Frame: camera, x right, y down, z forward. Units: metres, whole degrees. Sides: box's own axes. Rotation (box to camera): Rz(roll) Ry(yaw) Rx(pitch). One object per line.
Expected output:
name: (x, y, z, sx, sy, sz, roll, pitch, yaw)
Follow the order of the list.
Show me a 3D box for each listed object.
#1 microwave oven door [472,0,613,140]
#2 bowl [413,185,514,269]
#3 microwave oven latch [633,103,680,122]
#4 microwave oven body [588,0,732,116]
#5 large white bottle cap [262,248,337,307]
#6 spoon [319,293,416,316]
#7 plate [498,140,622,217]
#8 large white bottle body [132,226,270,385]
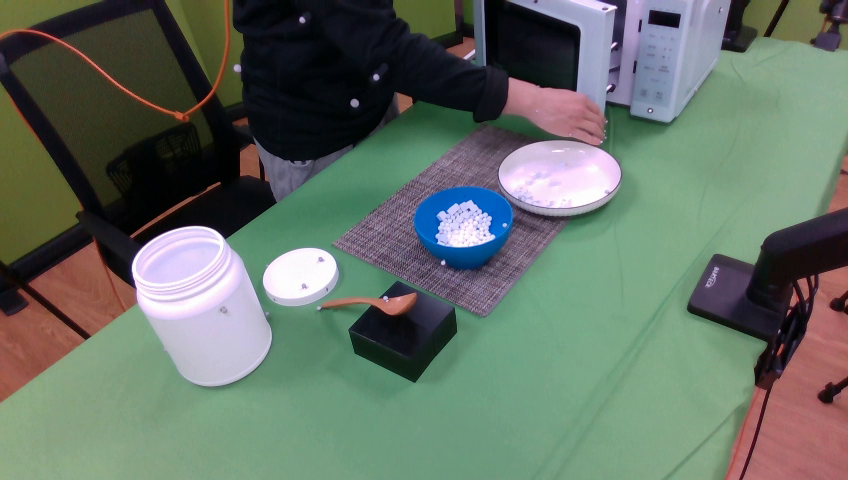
microwave oven door: (0.216, -0.367, 1.171, 0.039, 0.245, 0.352, -28, 45, -23)
bowl: (0.062, -0.009, 0.920, 0.151, 0.077, 0.150, -4, 40, 4)
microwave oven latch: (0.443, -0.249, 1.157, 0.078, 0.029, 0.030, 21, 49, 30)
microwave oven body: (0.377, -0.463, 1.267, 0.438, 0.261, 0.327, 21, 49, 30)
large white bottle cap: (-0.193, 0.056, 0.934, 0.115, 0.018, 0.114, -4, 41, 4)
spoon: (-0.082, 0.086, 0.826, 0.192, 0.022, 0.041, -3, 36, 41)
plate: (0.231, -0.103, 1.038, 0.209, 0.038, 0.208, -4, 40, 4)
large white bottle body: (-0.286, 0.085, 0.784, 0.130, 0.185, 0.130, -4, 41, 4)
